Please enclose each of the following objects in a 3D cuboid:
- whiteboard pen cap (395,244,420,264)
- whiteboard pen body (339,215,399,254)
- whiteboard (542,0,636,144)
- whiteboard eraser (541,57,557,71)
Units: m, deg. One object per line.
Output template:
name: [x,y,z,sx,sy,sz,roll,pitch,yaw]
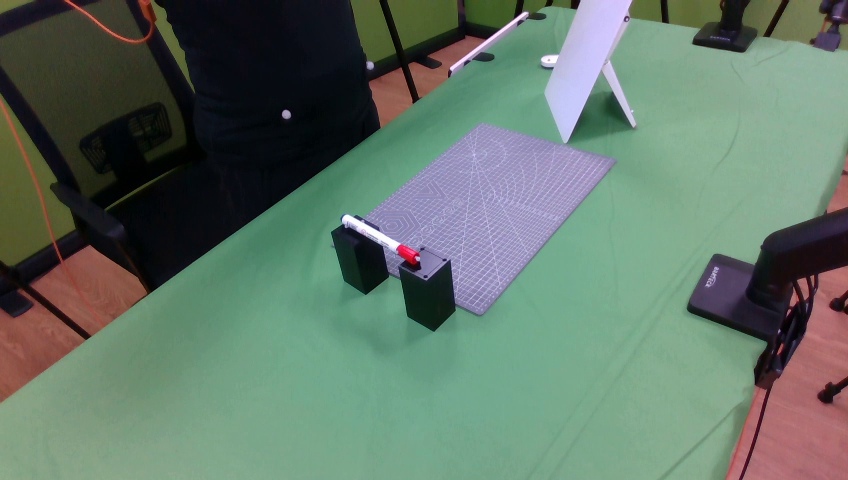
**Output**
whiteboard pen cap: [-0.022,0.018,0.800,0.032,0.017,0.017,29,52,36]
whiteboard pen body: [-0.067,-0.004,0.835,0.139,0.017,0.017,28,51,33]
whiteboard: [0.366,-0.351,1.160,0.144,0.305,0.216,10,39,-10]
whiteboard eraser: [0.323,-0.412,1.408,0.101,0.019,0.041,1,42,11]
